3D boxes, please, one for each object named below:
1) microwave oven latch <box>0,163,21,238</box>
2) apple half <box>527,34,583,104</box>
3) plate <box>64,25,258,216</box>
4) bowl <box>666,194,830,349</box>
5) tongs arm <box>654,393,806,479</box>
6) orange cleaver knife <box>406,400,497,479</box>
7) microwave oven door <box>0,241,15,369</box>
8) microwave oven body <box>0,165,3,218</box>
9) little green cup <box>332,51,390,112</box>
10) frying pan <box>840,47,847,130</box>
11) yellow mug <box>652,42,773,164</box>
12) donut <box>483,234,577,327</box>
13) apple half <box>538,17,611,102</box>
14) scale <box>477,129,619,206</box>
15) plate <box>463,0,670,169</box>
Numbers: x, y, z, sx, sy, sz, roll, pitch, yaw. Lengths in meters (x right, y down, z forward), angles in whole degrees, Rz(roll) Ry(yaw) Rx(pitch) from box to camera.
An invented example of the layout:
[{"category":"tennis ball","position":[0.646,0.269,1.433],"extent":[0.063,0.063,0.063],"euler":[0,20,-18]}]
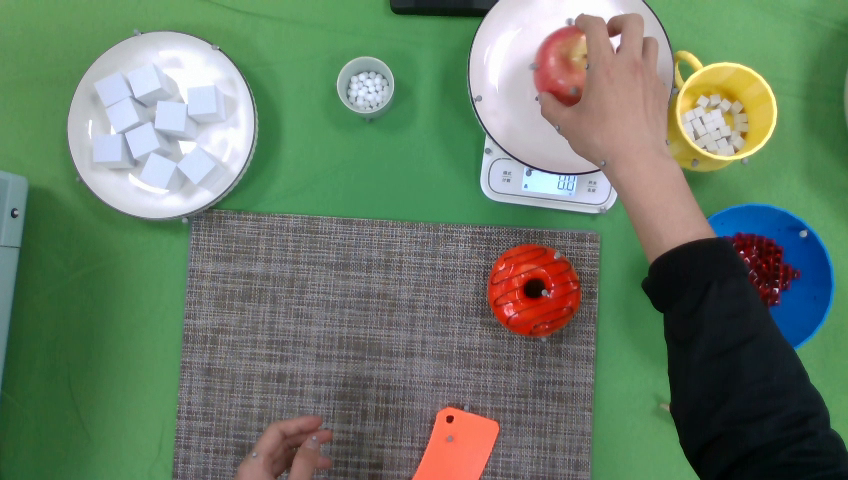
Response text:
[{"category":"microwave oven latch","position":[-0.456,-0.043,0.649],"extent":[0.030,0.029,0.079],"euler":[8,88,2]},{"category":"apple half","position":[0.121,-0.159,0.596],"extent":[0.033,0.081,0.081],"euler":[-35,86,0]},{"category":"plate","position":[-0.283,-0.128,0.665],"extent":[0.207,0.039,0.207],"euler":[0,87,2]},{"category":"bowl","position":[0.314,0.032,0.618],"extent":[0.151,0.077,0.151],"euler":[0,88,2]},{"category":"tongs arm","position":[0.406,0.272,0.628],"extent":[0.387,0.028,0.028],"euler":[33,82,3]},{"category":"orange cleaver knife","position":[0.003,0.265,0.643],"extent":[0.077,0.012,0.211],"euler":[32,87,-3]},{"category":"microwave oven door","position":[-0.484,0.170,0.539],"extent":[0.039,0.244,0.355],"euler":[5,87,3]},{"category":"microwave oven body","position":[-0.625,0.114,0.552],"extent":[0.326,0.260,0.441],"euler":[6,88,2]},{"category":"little green cup","position":[-0.065,-0.170,0.659],"extent":[0.061,0.038,0.061],"euler":[0,87,2]},{"category":"frying pan","position":[0.608,-0.064,0.598],"extent":[0.307,0.103,0.485],"euler":[-24,79,2]},{"category":"yellow mug","position":[0.289,-0.148,0.632],"extent":[0.100,0.064,0.130],"euler":[-29,86,2]},{"category":"donut","position":[0.111,0.043,0.637],"extent":[0.099,0.048,0.099],"euler":[0,87,4]},{"category":"apple half","position":[0.152,-0.182,0.595],"extent":[0.053,0.075,0.080],"euler":[-35,82,0]},{"category":"scale","position":[0.141,-0.143,0.654],"extent":[0.148,0.031,0.200],"euler":[7,88,3]},{"category":"plate","position":[0.143,-0.175,0.623],"extent":[0.209,0.038,0.209],"euler":[0,88,1]}]
